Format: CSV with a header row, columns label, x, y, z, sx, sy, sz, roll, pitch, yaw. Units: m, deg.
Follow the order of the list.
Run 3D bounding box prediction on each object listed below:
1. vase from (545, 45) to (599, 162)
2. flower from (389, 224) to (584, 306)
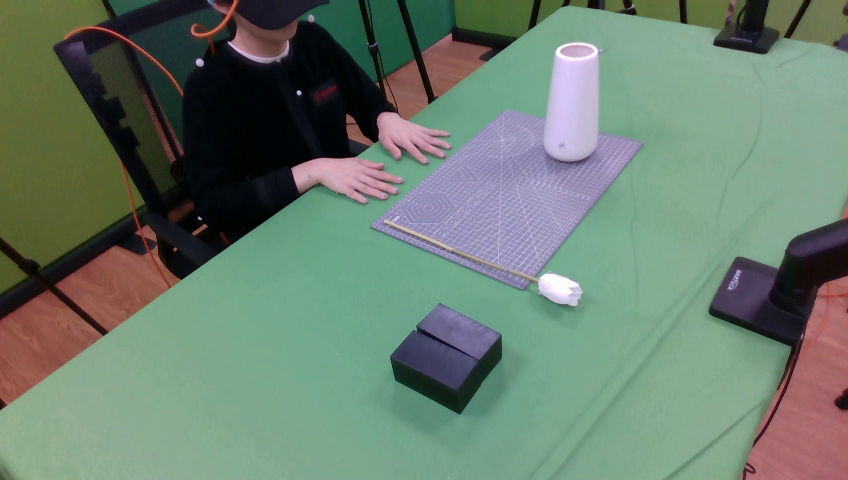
label,x,y,z,sx,sy,sz,roll,pitch,yaw
vase,0.266,-0.238,1.074,0.098,0.201,0.097,-4,42,4
flower,0.078,0.026,0.938,0.358,0.038,0.044,21,15,35
